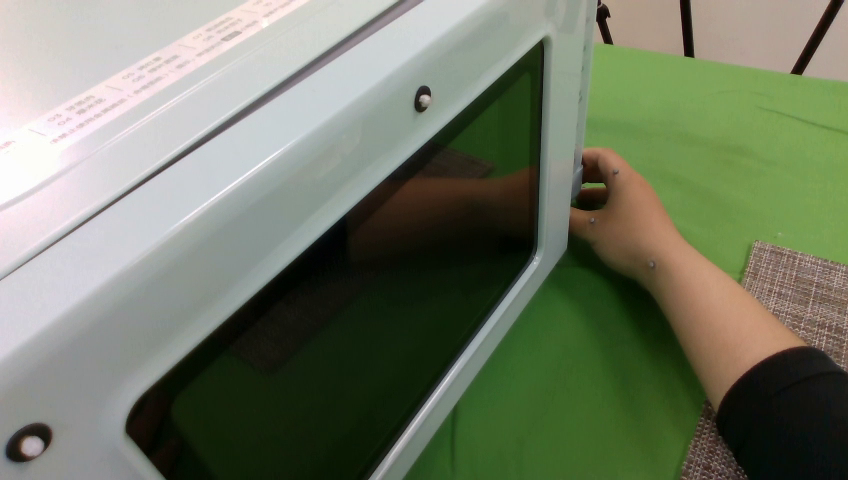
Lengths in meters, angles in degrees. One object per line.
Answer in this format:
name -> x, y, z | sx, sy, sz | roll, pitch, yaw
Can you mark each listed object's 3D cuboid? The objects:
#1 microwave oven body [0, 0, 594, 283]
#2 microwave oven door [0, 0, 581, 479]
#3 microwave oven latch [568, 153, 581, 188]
microwave oven body -> -0.123, -0.047, 0.405 | 0.324, 0.263, 0.440 | 19, 50, 25
microwave oven door -> -0.013, 0.021, 0.310 | 0.039, 0.246, 0.355 | 21, 50, 28
microwave oven latch -> 0.101, -0.048, 0.518 | 0.079, 0.030, 0.030 | -35, 51, -26
